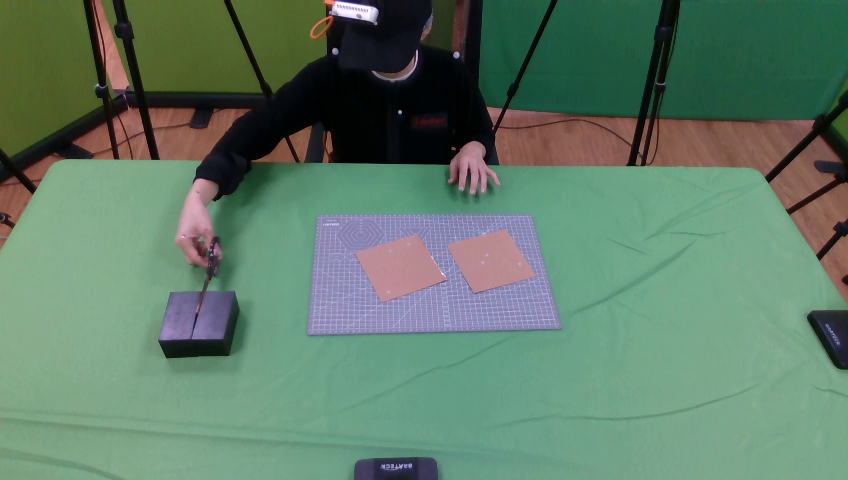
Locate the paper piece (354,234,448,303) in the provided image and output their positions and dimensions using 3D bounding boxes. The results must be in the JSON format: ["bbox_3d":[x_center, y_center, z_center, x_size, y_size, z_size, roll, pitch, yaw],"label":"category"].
[{"bbox_3d":[-0.045,0.049,1.153,0.138,0.009,0.135,-17,46,-18],"label":"paper piece"}]

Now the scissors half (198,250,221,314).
[{"bbox_3d":[-0.379,0.073,1.070,0.013,0.040,0.174,5,32,-9],"label":"scissors half"}]

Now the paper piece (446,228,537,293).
[{"bbox_3d":[0.130,0.037,1.177,0.136,0.004,0.134,-14,49,-16],"label":"paper piece"}]

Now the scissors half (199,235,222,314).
[{"bbox_3d":[-0.374,0.058,1.057,0.013,0.040,0.174,9,48,-13],"label":"scissors half"}]
